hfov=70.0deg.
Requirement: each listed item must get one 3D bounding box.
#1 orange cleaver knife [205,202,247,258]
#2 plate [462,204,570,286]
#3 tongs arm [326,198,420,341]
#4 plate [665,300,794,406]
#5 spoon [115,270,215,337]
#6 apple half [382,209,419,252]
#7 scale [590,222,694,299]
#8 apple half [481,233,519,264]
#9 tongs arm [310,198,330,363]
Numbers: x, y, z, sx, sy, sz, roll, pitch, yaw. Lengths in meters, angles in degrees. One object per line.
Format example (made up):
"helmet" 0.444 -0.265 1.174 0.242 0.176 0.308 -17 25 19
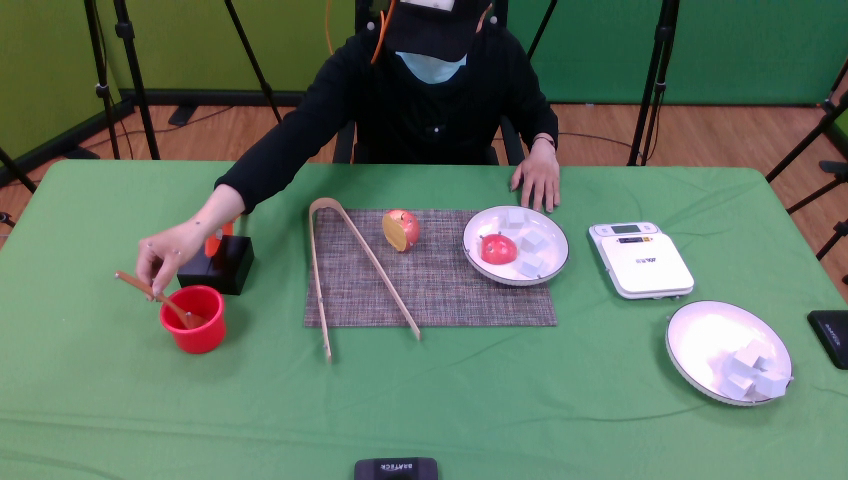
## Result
"orange cleaver knife" -0.374 -0.023 1.151 0.012 0.077 0.210 3 16 2
"plate" 0.177 0.013 1.180 0.209 0.038 0.208 2 46 -2
"tongs arm" -0.101 0.042 1.139 0.028 0.028 0.385 -23 51 -17
"plate" 0.513 0.194 1.034 0.208 0.039 0.206 2 46 -2
"spoon" -0.408 0.100 0.964 0.021 0.195 0.041 -25 42 15
"apple half" -0.039 -0.022 1.175 0.053 0.075 0.080 -27 49 -31
"scale" 0.424 0.031 1.189 0.149 0.032 0.199 -3 46 -7
"apple half" 0.147 0.010 1.174 0.081 0.033 0.081 0 46 0
"tongs arm" -0.179 0.059 1.117 0.051 0.026 0.382 -9 46 -11
